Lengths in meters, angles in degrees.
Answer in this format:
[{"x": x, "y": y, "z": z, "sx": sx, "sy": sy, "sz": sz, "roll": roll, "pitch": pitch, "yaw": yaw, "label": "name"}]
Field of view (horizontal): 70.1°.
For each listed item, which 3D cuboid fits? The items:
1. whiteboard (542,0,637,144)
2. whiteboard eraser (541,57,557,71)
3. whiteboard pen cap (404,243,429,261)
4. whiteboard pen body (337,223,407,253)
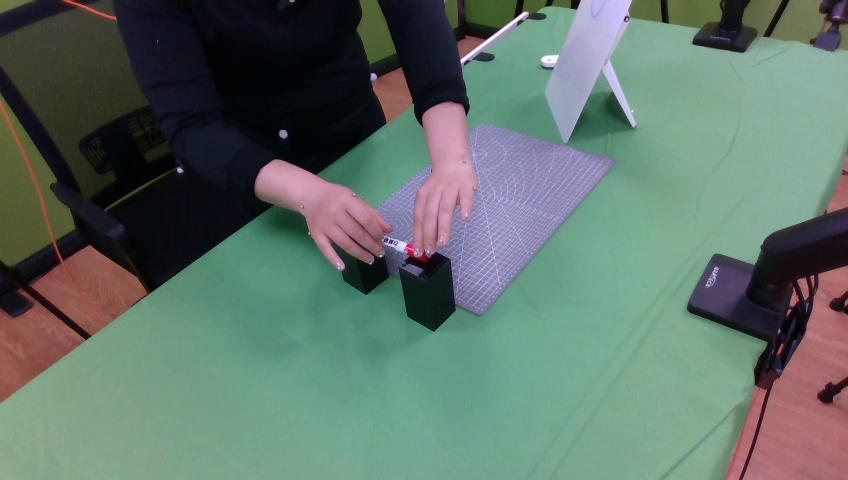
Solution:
[{"x": 0.366, "y": -0.351, "z": 1.160, "sx": 0.144, "sy": 0.305, "sz": 0.216, "roll": 10, "pitch": 39, "yaw": -10, "label": "whiteboard"}, {"x": 0.323, "y": -0.412, "z": 1.407, "sx": 0.101, "sy": 0.019, "sz": 0.041, "roll": 1, "pitch": 41, "yaw": 11, "label": "whiteboard eraser"}, {"x": -0.011, "y": 0.015, "z": 0.801, "sx": 0.032, "sy": 0.017, "sz": 0.017, "roll": 18, "pitch": 46, "yaw": 29, "label": "whiteboard pen cap"}, {"x": -0.061, "y": 0.000, "z": 0.829, "sx": 0.139, "sy": 0.017, "sz": 0.017, "roll": 17, "pitch": 46, "yaw": 28, "label": "whiteboard pen body"}]
